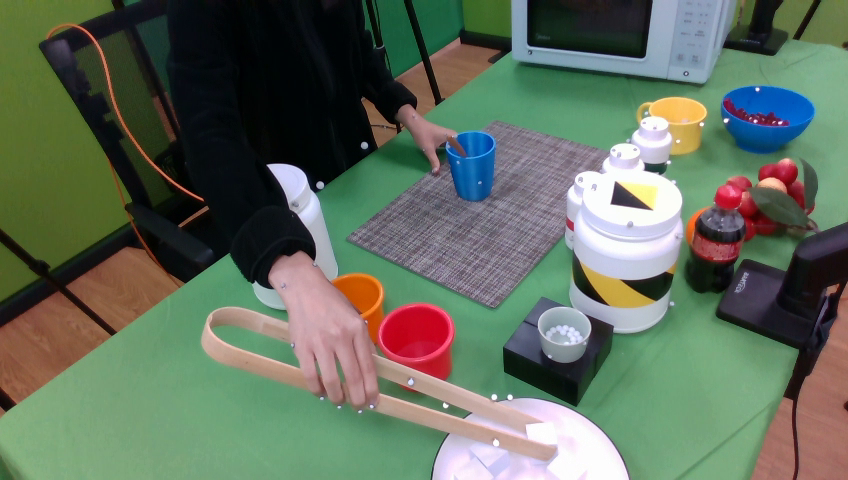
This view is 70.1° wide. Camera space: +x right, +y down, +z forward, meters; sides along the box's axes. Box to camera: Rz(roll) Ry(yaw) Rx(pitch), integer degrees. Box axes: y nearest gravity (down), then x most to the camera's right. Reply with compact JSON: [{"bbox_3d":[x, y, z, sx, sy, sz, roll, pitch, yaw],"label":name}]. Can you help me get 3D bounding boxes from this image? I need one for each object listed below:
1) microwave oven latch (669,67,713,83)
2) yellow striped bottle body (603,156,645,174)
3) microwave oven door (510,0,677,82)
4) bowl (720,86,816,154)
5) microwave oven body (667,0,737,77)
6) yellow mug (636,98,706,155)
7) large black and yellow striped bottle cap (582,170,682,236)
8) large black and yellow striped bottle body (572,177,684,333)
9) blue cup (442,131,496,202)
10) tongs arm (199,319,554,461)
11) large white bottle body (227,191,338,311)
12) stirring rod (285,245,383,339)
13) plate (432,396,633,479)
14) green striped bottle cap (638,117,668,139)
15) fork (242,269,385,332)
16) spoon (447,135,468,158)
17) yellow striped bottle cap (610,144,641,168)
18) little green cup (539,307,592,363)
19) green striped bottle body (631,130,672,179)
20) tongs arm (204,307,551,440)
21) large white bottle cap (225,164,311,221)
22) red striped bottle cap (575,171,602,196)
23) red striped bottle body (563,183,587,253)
[{"bbox_3d":[0.556,-0.349,1.261,0.078,0.029,0.030,16,46,27],"label":"microwave oven latch"},{"bbox_3d":[0.313,-0.089,0.956,0.063,0.121,0.062,-4,39,4],"label":"yellow striped bottle body"},{"bbox_3d":[0.352,-0.477,1.289,0.353,0.245,0.039,15,44,25],"label":"microwave oven door"},{"bbox_3d":[0.605,-0.206,1.082,0.151,0.077,0.150,-5,40,5],"label":"bowl"},{"bbox_3d":[0.462,-0.552,1.368,0.439,0.261,0.326,15,45,26],"label":"microwave oven body"},{"bbox_3d":[0.453,-0.218,1.128,0.100,0.064,0.129,-34,46,-27],"label":"yellow mug"},{"bbox_3d":[0.252,-0.048,0.735,0.115,0.019,0.114,-3,40,3],"label":"large black and yellow striped bottle cap"},{"bbox_3d":[0.262,0.017,0.788,0.131,0.185,0.130,-5,40,4],"label":"large black and yellow striped bottle body"},{"bbox_3d":[0.084,-0.122,1.041,0.092,0.100,0.092,-4,42,4],"label":"blue cup"},{"bbox_3d":[-0.042,0.162,0.619,0.389,0.028,0.028,21,35,-10],"label":"tongs arm"},{"bbox_3d":[-0.207,-0.002,0.883,0.130,0.185,0.130,-4,40,4],"label":"large white bottle body"},{"bbox_3d":[-0.121,0.071,0.820,0.176,0.006,0.014,45,54,-6],"label":"stirring rod"},{"bbox_3d":[0.112,0.261,0.634,0.209,0.038,0.208,-5,40,4],"label":"plate"},{"bbox_3d":[0.369,-0.180,0.974,0.044,0.020,0.044,-4,41,4],"label":"green striped bottle cap"},{"bbox_3d":[-0.142,0.081,0.802,0.209,0.018,0.028,28,42,-26],"label":"fork"},{"bbox_3d":[0.067,-0.132,0.993,0.041,0.195,0.021,6,74,21],"label":"spoon"},{"bbox_3d":[0.307,-0.128,0.923,0.044,0.019,0.044,-6,40,5],"label":"yellow striped bottle cap"},{"bbox_3d":[0.168,0.115,0.721,0.061,0.039,0.061,-4,42,4],"label":"little green cup"},{"bbox_3d":[0.375,-0.140,1.007,0.063,0.120,0.063,-5,40,5],"label":"green striped bottle body"},{"bbox_3d":[-0.041,0.150,0.637,0.386,0.026,0.050,24,31,-6],"label":"tongs arm"},{"bbox_3d":[-0.214,-0.067,0.829,0.115,0.018,0.114,-4,40,3],"label":"large white bottle cap"},{"bbox_3d":[0.242,-0.081,0.876,0.044,0.018,0.044,-5,44,5],"label":"red striped bottle cap"},{"bbox_3d":[0.246,-0.041,0.910,0.063,0.120,0.062,-2,38,2],"label":"red striped bottle body"}]
